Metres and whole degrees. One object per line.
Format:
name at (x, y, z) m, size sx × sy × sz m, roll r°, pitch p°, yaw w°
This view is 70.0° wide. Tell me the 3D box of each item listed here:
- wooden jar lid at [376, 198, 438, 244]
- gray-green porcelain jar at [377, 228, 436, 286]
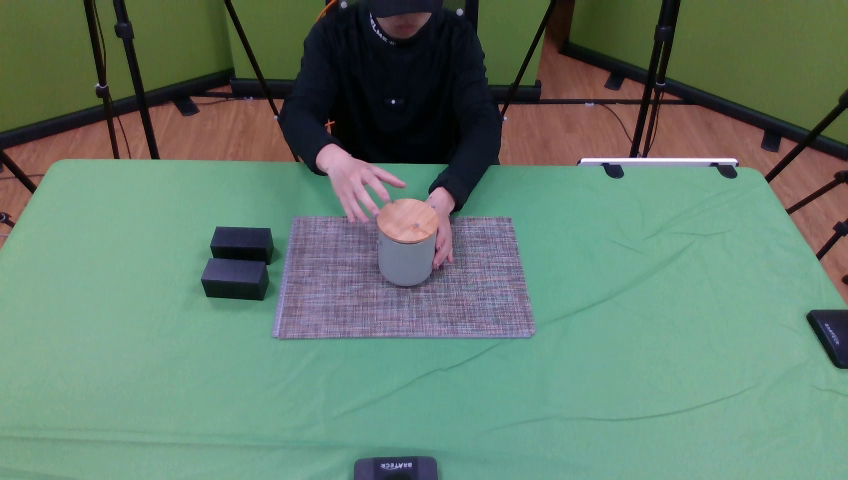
wooden jar lid at (-0.030, -0.030, 1.059) m, size 0.108 × 0.021 × 0.107 m, roll 2°, pitch 44°, yaw -2°
gray-green porcelain jar at (-0.033, 0.014, 1.106) m, size 0.106 × 0.127 × 0.105 m, roll 2°, pitch 46°, yaw -2°
